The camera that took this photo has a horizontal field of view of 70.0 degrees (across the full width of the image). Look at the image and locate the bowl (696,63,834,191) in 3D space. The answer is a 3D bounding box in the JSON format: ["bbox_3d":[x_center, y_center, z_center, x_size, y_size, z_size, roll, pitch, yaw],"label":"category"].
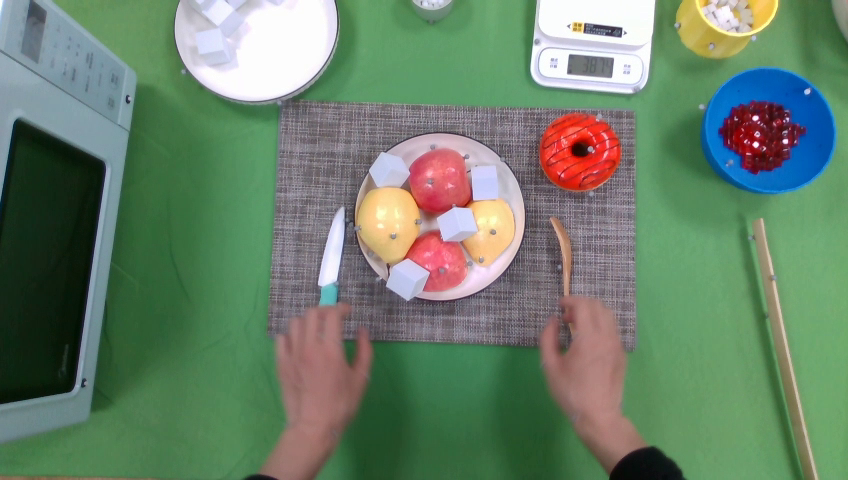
[{"bbox_3d":[0.393,-0.126,0.727,0.151,0.077,0.151,0,84,1],"label":"bowl"}]

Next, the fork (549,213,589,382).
[{"bbox_3d":[0.176,0.068,0.733,0.018,0.028,0.207,-10,85,26],"label":"fork"}]

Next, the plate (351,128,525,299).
[{"bbox_3d":[0.018,-0.031,0.737,0.209,0.038,0.208,0,83,1],"label":"plate"}]

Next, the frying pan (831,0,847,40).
[{"bbox_3d":[0.685,-0.228,0.722,0.307,0.103,0.485,-25,75,-1],"label":"frying pan"}]

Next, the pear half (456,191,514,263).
[{"bbox_3d":[0.071,-0.017,0.729,0.070,0.031,0.087,3,81,15],"label":"pear half"}]

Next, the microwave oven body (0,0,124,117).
[{"bbox_3d":[-0.543,-0.035,0.634,0.326,0.261,0.440,5,84,1],"label":"microwave oven body"}]

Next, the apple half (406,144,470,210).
[{"bbox_3d":[0.015,-0.077,0.725,0.074,0.053,0.080,-10,86,2],"label":"apple half"}]

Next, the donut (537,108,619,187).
[{"bbox_3d":[0.187,-0.113,0.742,0.099,0.048,0.099,0,84,4],"label":"donut"}]

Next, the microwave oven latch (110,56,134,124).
[{"bbox_3d":[-0.379,-0.185,0.746,0.030,0.029,0.079,6,84,1],"label":"microwave oven latch"}]

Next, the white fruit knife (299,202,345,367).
[{"bbox_3d":[-0.120,0.053,0.740,0.027,0.016,0.207,11,82,-10],"label":"white fruit knife"}]

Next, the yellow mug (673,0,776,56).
[{"bbox_3d":[0.364,-0.303,0.754,0.100,0.064,0.130,-30,83,-2],"label":"yellow mug"}]

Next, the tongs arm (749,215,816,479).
[{"bbox_3d":[0.444,0.157,0.715,0.051,0.026,0.383,-6,84,-3],"label":"tongs arm"}]

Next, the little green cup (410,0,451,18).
[{"bbox_3d":[0.009,-0.318,0.775,0.061,0.039,0.061,0,83,1],"label":"little green cup"}]

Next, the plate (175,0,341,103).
[{"bbox_3d":[-0.208,-0.272,0.773,0.208,0.039,0.207,0,83,1],"label":"plate"}]

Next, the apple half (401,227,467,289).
[{"bbox_3d":[0.011,0.020,0.723,0.081,0.033,0.081,0,77,0],"label":"apple half"}]

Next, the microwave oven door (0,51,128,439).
[{"bbox_3d":[-0.402,0.018,0.620,0.039,0.244,0.354,4,83,2],"label":"microwave oven door"}]

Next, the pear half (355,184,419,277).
[{"bbox_3d":[-0.042,-0.012,0.715,0.076,0.056,0.109,-4,87,-7],"label":"pear half"}]

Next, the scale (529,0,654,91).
[{"bbox_3d":[0.216,-0.294,0.773,0.148,0.031,0.200,6,84,2],"label":"scale"}]
